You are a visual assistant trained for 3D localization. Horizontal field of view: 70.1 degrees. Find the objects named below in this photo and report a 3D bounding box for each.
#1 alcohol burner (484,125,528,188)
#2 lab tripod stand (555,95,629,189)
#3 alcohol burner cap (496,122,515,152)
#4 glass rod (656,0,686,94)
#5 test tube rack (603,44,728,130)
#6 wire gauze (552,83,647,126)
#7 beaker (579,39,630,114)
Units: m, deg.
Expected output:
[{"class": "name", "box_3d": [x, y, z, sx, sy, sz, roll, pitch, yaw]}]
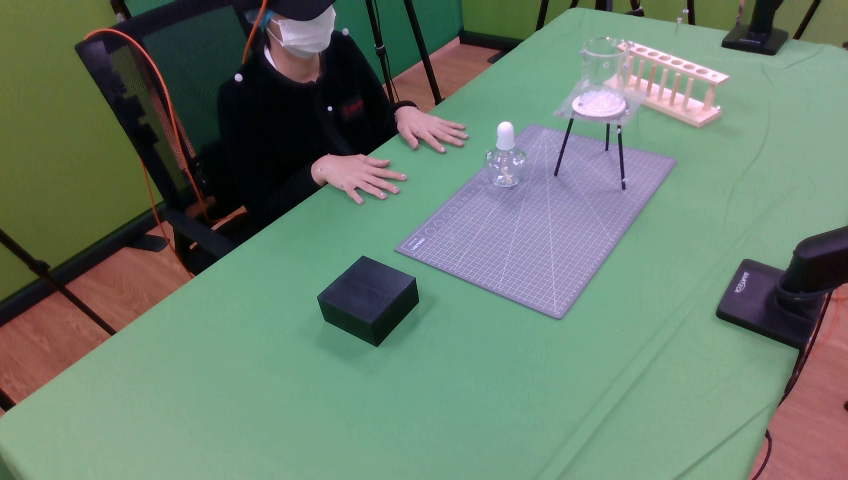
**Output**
[{"class": "alcohol burner", "box_3d": [0.144, -0.152, 1.059, 0.078, 0.119, 0.077, -3, 41, 3]}, {"class": "lab tripod stand", "box_3d": [0.300, -0.174, 1.045, 0.148, 0.132, 0.147, -5, 38, 5]}, {"class": "alcohol burner cap", "box_3d": [0.139, -0.179, 1.037, 0.034, 0.048, 0.033, -4, 44, 4]}, {"class": "glass rod", "box_3d": [0.491, -0.381, 1.199, 0.008, 0.200, 0.008, 1, 41, 0]}, {"class": "test tube rack", "box_3d": [0.480, -0.316, 1.227, 0.067, 0.085, 0.240, -28, 44, -22]}, {"class": "wire gauze", "box_3d": [0.293, -0.224, 1.004, 0.120, 0.011, 0.125, 19, 43, 26]}, {"class": "beaker", "box_3d": [0.289, -0.263, 0.975, 0.073, 0.101, 0.084, 17, 45, 27]}]
